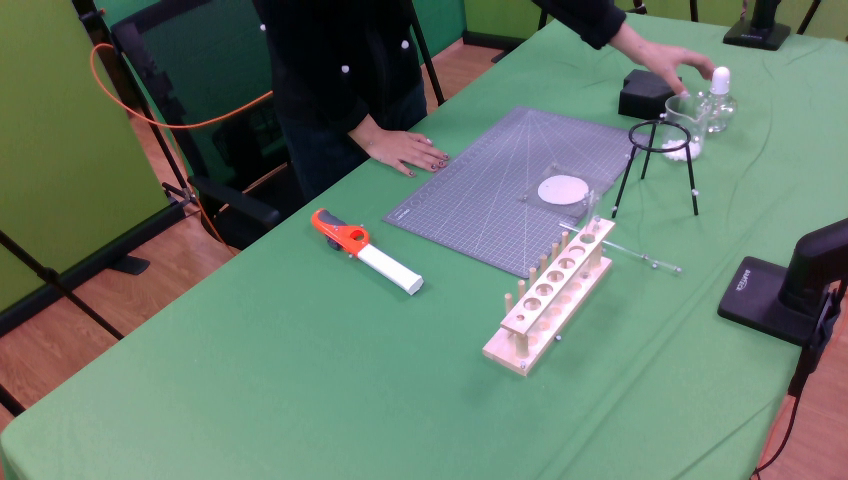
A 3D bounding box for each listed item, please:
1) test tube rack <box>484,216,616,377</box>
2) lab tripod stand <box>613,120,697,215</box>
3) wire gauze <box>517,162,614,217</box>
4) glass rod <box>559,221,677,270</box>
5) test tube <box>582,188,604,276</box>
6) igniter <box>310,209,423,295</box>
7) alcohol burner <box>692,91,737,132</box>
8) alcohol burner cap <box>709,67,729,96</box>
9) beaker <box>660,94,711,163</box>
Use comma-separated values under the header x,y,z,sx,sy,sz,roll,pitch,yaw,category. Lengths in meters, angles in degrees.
x,y,z,sx,sy,sz,roll,pitch,yaw,category
0.174,0.065,0.823,0.066,0.085,0.243,23,49,33,test tube rack
0.369,-0.112,0.958,0.148,0.132,0.147,-4,40,4,lab tripod stand
0.245,-0.088,1.046,0.120,0.011,0.125,25,50,32,wire gauze
0.292,0.007,0.928,0.198,0.008,0.008,26,52,36,glass rod
0.228,-0.007,0.821,0.017,0.151,0.017,-3,42,3,test tube
-0.103,0.012,0.982,0.057,0.025,0.274,-42,49,-20,igniter
0.541,-0.262,1.118,0.078,0.119,0.077,-5,42,5,alcohol burner
0.535,-0.288,1.094,0.034,0.048,0.033,-8,43,8,alcohol burner cap
0.457,-0.192,1.063,0.074,0.101,0.083,-7,41,4,beaker
